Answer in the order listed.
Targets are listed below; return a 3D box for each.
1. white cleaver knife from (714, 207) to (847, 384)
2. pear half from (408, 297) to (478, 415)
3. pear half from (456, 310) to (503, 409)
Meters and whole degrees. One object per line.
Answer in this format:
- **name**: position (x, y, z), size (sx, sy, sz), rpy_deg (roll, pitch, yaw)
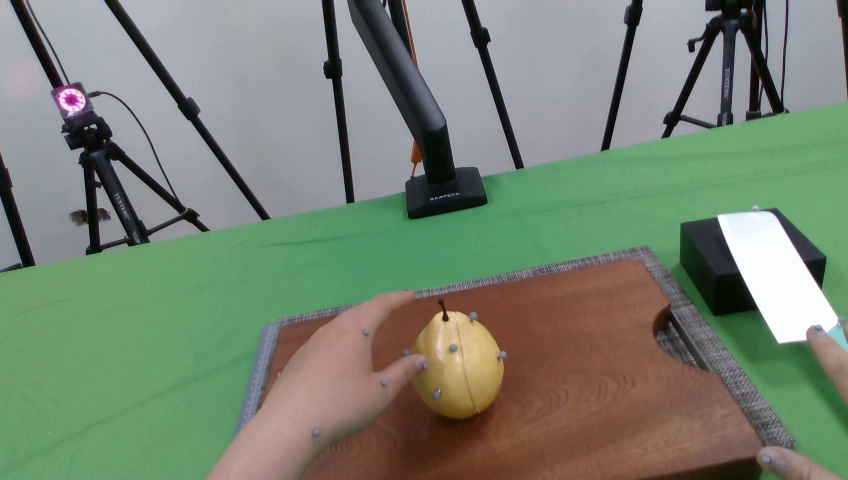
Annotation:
- **white cleaver knife**: position (0.326, 0.066, 0.523), size (0.066, 0.022, 0.283), rpy_deg (-12, 41, 9)
- **pear half**: position (0.012, 0.093, 0.501), size (0.056, 0.111, 0.075), rpy_deg (-12, 27, 3)
- **pear half**: position (0.048, 0.095, 0.502), size (0.031, 0.088, 0.070), rpy_deg (-11, 23, 3)
